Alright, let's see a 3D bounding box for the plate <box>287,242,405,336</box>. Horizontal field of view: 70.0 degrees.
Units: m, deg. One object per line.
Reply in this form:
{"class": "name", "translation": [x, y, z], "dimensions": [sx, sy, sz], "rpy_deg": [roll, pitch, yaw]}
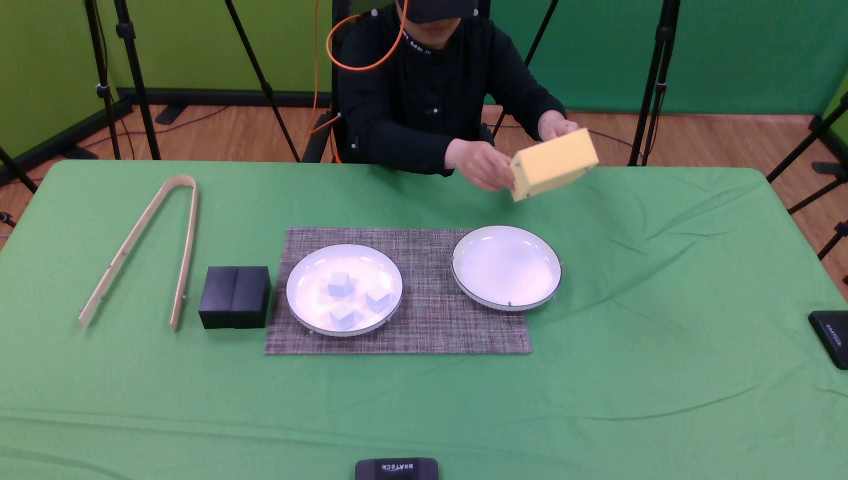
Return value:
{"class": "plate", "translation": [-0.138, 0.090, 1.084], "dimensions": [0.208, 0.039, 0.206], "rpy_deg": [2, 46, -2]}

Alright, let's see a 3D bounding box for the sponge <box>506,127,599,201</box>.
{"class": "sponge", "translation": [0.217, -0.128, 1.061], "dimensions": [0.118, 0.207, 0.061], "rpy_deg": [-20, 86, 1]}

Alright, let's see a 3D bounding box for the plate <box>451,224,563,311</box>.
{"class": "plate", "translation": [0.154, 0.053, 1.140], "dimensions": [0.209, 0.038, 0.208], "rpy_deg": [2, 46, -2]}

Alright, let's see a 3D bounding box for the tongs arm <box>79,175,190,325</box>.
{"class": "tongs arm", "translation": [-0.534, 0.005, 1.145], "dimensions": [0.051, 0.026, 0.382], "rpy_deg": [6, 45, 1]}

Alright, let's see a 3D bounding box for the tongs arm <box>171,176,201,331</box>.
{"class": "tongs arm", "translation": [-0.453, 0.010, 1.151], "dimensions": [0.028, 0.028, 0.385], "rpy_deg": [-6, 47, -6]}
